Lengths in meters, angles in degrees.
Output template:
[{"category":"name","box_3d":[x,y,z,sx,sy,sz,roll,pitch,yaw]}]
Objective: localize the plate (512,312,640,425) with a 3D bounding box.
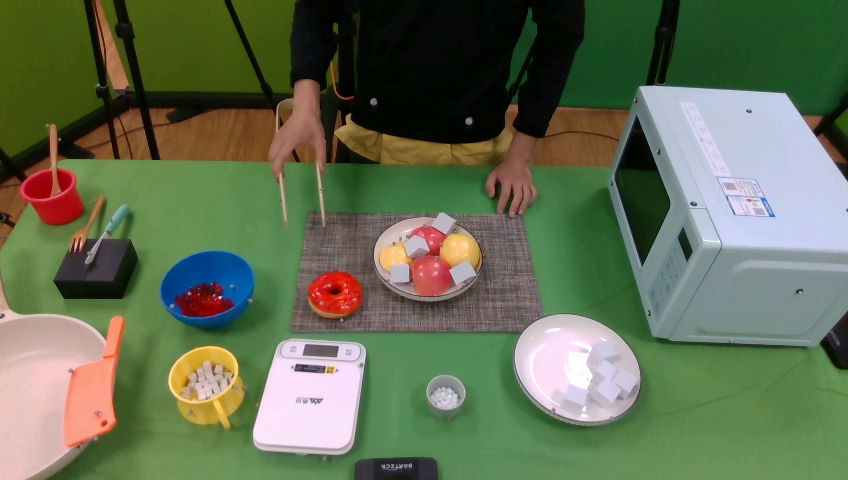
[{"category":"plate","box_3d":[0.246,0.213,0.999,0.208,0.039,0.206,2,46,-2]}]

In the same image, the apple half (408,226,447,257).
[{"category":"apple half","box_3d":[0.010,-0.006,1.176,0.081,0.033,0.081,1,52,-1]}]

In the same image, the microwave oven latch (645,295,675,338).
[{"category":"microwave oven latch","box_3d":[0.411,0.134,1.061,0.030,0.029,0.078,3,45,0]}]

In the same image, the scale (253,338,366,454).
[{"category":"scale","box_3d":[-0.175,0.236,0.951,0.149,0.032,0.199,4,45,0]}]

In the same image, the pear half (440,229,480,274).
[{"category":"pear half","box_3d":[0.065,0.007,1.150,0.076,0.056,0.109,-10,43,-2]}]

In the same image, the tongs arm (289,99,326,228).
[{"category":"tongs arm","box_3d":[-0.234,-0.164,1.201,0.051,0.026,0.382,-7,47,-8]}]

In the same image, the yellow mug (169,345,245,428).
[{"category":"yellow mug","box_3d":[-0.322,0.230,0.922,0.100,0.064,0.130,-24,53,-25]}]

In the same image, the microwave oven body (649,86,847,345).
[{"category":"microwave oven body","box_3d":[0.567,-0.053,1.118,0.326,0.261,0.439,2,45,-1]}]

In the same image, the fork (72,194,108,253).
[{"category":"fork","box_3d":[-0.634,-0.036,1.158,0.028,0.019,0.206,-8,32,-8]}]

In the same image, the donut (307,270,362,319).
[{"category":"donut","box_3d":[-0.158,0.097,1.073,0.099,0.048,0.098,4,45,-4]}]

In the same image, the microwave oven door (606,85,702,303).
[{"category":"microwave oven door","box_3d":[0.422,-0.094,1.140,0.039,0.245,0.353,2,46,-1]}]

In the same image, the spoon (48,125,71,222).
[{"category":"spoon","box_3d":[-0.719,-0.131,1.188,0.041,0.021,0.193,-3,90,-6]}]

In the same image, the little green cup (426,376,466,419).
[{"category":"little green cup","box_3d":[0.033,0.248,0.950,0.061,0.039,0.061,2,46,-2]}]

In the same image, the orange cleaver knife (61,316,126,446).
[{"category":"orange cleaver knife","box_3d":[-0.480,0.199,0.888,0.077,0.012,0.210,-8,46,-9]}]

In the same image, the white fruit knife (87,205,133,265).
[{"category":"white fruit knife","box_3d":[-0.584,-0.013,1.129,0.016,0.027,0.206,-1,32,-4]}]

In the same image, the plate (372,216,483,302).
[{"category":"plate","box_3d":[0.006,0.038,1.145,0.209,0.038,0.208,2,46,-2]}]

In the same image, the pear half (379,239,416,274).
[{"category":"pear half","box_3d":[-0.048,0.024,1.147,0.070,0.031,0.087,12,48,-10]}]

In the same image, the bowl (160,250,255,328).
[{"category":"bowl","box_3d":[-0.362,0.098,1.040,0.151,0.077,0.150,2,45,-2]}]

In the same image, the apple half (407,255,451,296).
[{"category":"apple half","box_3d":[0.011,0.058,1.103,0.075,0.053,0.080,-6,43,-13]}]

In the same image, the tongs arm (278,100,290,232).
[{"category":"tongs arm","box_3d":[-0.272,-0.159,1.194,0.028,0.028,0.385,-9,47,-5]}]

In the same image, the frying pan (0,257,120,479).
[{"category":"frying pan","box_3d":[-0.647,0.164,0.937,0.307,0.103,0.485,-19,58,-22]}]
